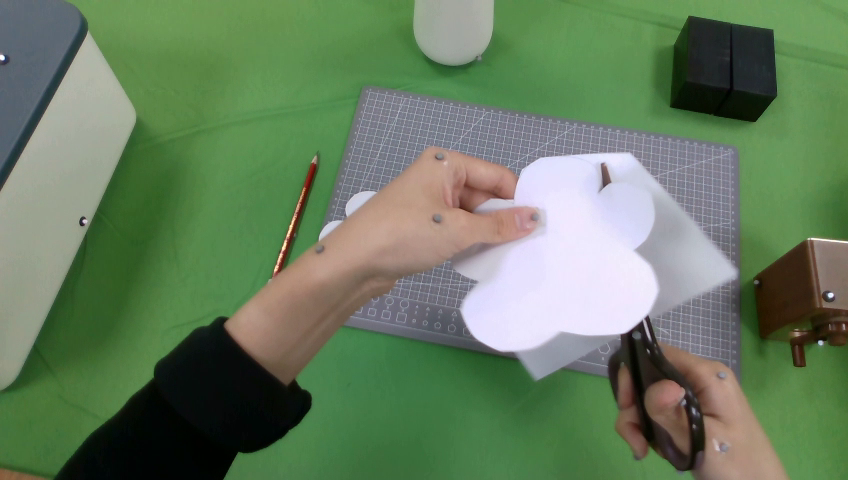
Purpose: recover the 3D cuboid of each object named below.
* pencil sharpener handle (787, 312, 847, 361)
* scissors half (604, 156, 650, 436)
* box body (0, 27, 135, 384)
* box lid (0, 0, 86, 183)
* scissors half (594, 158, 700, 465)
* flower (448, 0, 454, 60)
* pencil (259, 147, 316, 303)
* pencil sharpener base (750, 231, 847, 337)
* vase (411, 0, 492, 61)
[{"bbox_3d":[0.362,0.090,0.553,0.036,0.068,0.030,12,66,-11],"label":"pencil sharpener handle"},{"bbox_3d":[0.115,0.036,0.355,0.013,0.039,0.176,-14,109,-9],"label":"scissors half"},{"bbox_3d":[-0.480,-0.057,0.589,0.254,0.161,0.361,10,67,4],"label":"box body"},{"bbox_3d":[-0.480,-0.089,0.520,0.263,0.015,0.369,11,67,3],"label":"box lid"},{"bbox_3d":[0.120,0.038,0.334,0.013,0.040,0.175,-15,86,-14],"label":"scissors half"},{"bbox_3d":[0.028,-0.344,0.608,0.044,0.365,0.038,4,49,5],"label":"flower"},{"bbox_3d":[-0.146,-0.022,0.662,0.012,0.012,0.193,11,66,5],"label":"pencil"},{"bbox_3d":[0.372,0.049,0.584,0.061,0.108,0.076,6,67,2],"label":"pencil sharpener base"},{"bbox_3d":[0.032,-0.298,0.679,0.098,0.201,0.097,0,65,1],"label":"vase"}]
